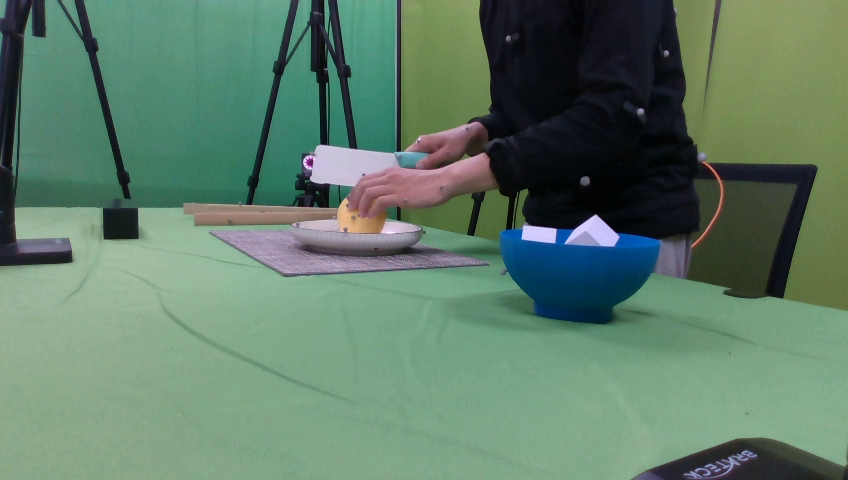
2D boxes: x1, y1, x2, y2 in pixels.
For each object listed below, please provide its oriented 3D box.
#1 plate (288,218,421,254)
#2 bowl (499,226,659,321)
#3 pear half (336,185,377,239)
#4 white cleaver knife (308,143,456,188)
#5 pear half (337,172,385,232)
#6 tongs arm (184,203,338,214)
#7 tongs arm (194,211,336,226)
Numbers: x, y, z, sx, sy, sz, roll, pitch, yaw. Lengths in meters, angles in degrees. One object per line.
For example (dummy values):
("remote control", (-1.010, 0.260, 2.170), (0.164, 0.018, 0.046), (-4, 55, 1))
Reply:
("plate", (-0.109, -0.007, 0.957), (0.208, 0.039, 0.207), (2, 7, 0))
("bowl", (0.145, 0.032, 0.584), (0.151, 0.077, 0.151), (2, 7, 0))
("pear half", (-0.114, -0.046, 0.978), (0.071, 0.088, 0.031), (-6, 12, -38))
("white cleaver knife", (-0.061, -0.118, 0.989), (0.288, 0.066, 0.021), (-2, 12, -38))
("pear half", (-0.093, -0.051, 0.949), (0.077, 0.110, 0.055), (-8, 13, -38))
("tongs arm", (-0.337, -0.065, 1.376), (0.387, 0.026, 0.050), (0, 9, -25))
("tongs arm", (-0.298, -0.049, 1.307), (0.390, 0.028, 0.028), (-3, 8, -38))
